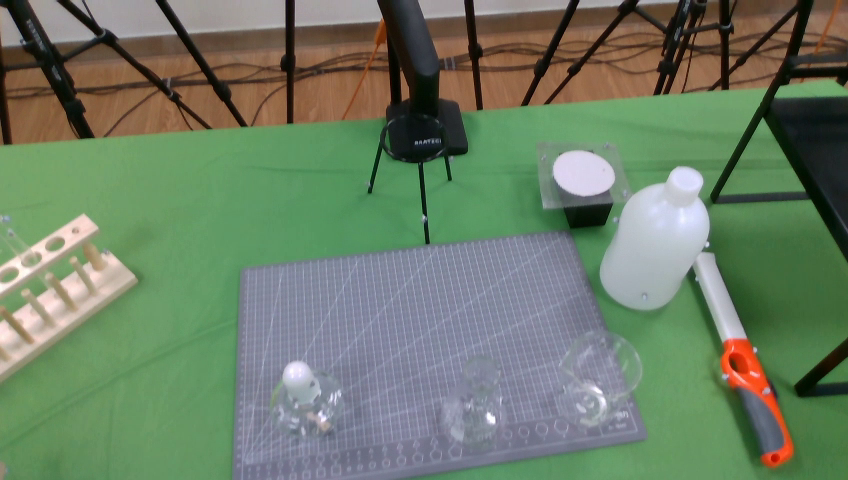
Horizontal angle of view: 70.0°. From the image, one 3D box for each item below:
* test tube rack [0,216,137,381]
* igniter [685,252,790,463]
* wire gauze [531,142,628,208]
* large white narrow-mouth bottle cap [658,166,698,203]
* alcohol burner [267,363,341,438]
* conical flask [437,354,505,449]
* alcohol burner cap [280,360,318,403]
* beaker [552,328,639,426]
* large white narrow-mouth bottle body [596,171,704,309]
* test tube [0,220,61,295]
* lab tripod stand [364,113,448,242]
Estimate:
[{"bbox_3d":[-0.475,0.084,0.708,0.066,0.086,0.242,35,59,23],"label":"test tube rack"},{"bbox_3d":[0.370,0.129,0.728,0.057,0.025,0.273,4,52,-11],"label":"igniter"},{"bbox_3d":[0.214,-0.094,0.845,0.121,0.011,0.124,0,52,-1],"label":"wire gauze"},{"bbox_3d":[0.274,-0.060,0.656,0.038,0.024,0.037,0,52,0],"label":"large white narrow-mouth bottle cap"},{"bbox_3d":[-0.127,0.161,0.635,0.078,0.120,0.077,2,51,-2],"label":"alcohol burner"},{"bbox_3d":[0.052,0.163,0.632,0.075,0.123,0.074,0,52,0],"label":"conical flask"},{"bbox_3d":[-0.127,0.140,0.606,0.034,0.048,0.033,-3,53,4],"label":"alcohol burner cap"},{"bbox_3d":[0.179,0.153,0.657,0.084,0.101,0.073,-2,52,-1],"label":"beaker"},{"bbox_3d":[0.274,-0.006,0.723,0.102,0.196,0.101,0,52,0],"label":"large white narrow-mouth bottle body"},{"bbox_3d":[-0.457,0.021,0.693,0.017,0.151,0.017,1,55,-1],"label":"test tube"},{"bbox_3d":[-0.015,-0.091,0.821,0.148,0.132,0.147,2,53,-2],"label":"lab tripod stand"}]
